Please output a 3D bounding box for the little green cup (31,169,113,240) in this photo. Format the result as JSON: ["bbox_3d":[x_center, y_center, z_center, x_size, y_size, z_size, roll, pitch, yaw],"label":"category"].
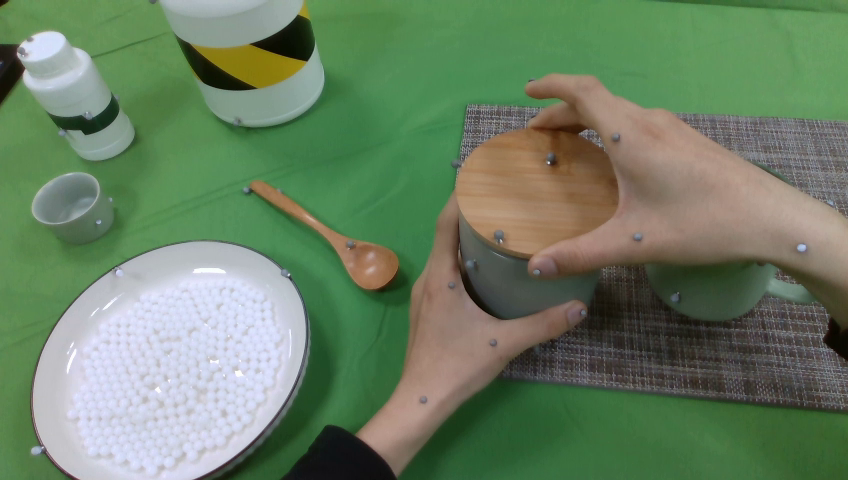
[{"bbox_3d":[-0.324,-0.031,0.563,0.061,0.039,0.061,-1,52,1],"label":"little green cup"}]

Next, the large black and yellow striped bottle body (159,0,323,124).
[{"bbox_3d":[-0.181,-0.222,0.597,0.131,0.185,0.129,-2,56,3],"label":"large black and yellow striped bottle body"}]

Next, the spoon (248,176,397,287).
[{"bbox_3d":[-0.097,-0.016,0.548,0.192,0.022,0.041,34,82,23],"label":"spoon"}]

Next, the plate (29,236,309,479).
[{"bbox_3d":[-0.190,0.091,0.472,0.209,0.038,0.207,-2,55,3],"label":"plate"}]

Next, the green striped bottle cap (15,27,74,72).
[{"bbox_3d":[-0.345,-0.173,0.551,0.044,0.020,0.044,0,57,1],"label":"green striped bottle cap"}]

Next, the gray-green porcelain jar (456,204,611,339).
[{"bbox_3d":[0.078,0.007,0.452,0.106,0.127,0.105,-2,55,3],"label":"gray-green porcelain jar"}]

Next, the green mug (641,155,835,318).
[{"bbox_3d":[0.236,0.006,0.455,0.124,0.106,0.092,25,60,19],"label":"green mug"}]

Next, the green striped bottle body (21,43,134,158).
[{"bbox_3d":[-0.341,-0.143,0.593,0.063,0.120,0.062,-2,55,3],"label":"green striped bottle body"}]

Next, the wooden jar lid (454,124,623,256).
[{"bbox_3d":[0.074,-0.032,0.398,0.108,0.021,0.107,-4,55,6],"label":"wooden jar lid"}]
